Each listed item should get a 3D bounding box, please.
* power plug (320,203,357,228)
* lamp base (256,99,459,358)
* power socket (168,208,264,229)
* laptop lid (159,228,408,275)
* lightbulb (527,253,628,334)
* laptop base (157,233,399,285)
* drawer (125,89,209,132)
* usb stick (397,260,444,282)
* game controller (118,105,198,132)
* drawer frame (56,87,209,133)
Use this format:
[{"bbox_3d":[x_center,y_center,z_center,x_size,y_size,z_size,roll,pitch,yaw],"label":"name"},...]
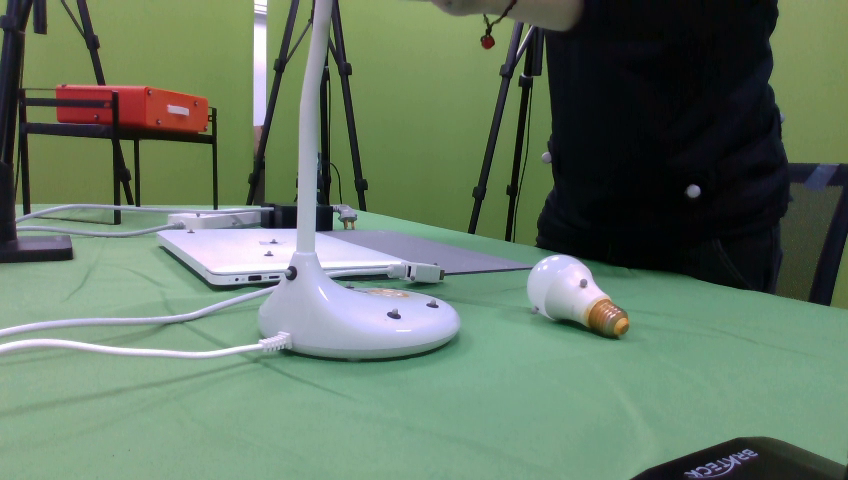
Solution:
[{"bbox_3d":[-0.170,-0.046,1.208,0.073,0.052,0.035,-6,-18,-10],"label":"power plug"},{"bbox_3d":[-0.055,-0.013,0.462,0.160,0.180,0.180,6,11,27],"label":"lamp base"},{"bbox_3d":[-0.381,-0.038,1.128,0.072,0.032,0.227,4,8,16],"label":"power socket"},{"bbox_3d":[-0.201,0.007,0.806,0.243,0.013,0.355,-1,8,-31],"label":"laptop lid"},{"bbox_3d":[0.137,0.050,0.534,0.060,0.059,0.107,-3,24,-33],"label":"lightbulb"},{"bbox_3d":[-0.204,0.019,0.806,0.237,0.023,0.352,0,7,-33],"label":"laptop base"},{"bbox_3d":[-0.595,-0.268,1.263,0.211,0.073,0.195,3,8,15],"label":"drawer"},{"bbox_3d":[-0.001,0.036,0.696,0.027,0.021,0.059,12,4,43],"label":"usb stick"},{"bbox_3d":[-0.554,-0.252,1.254,0.097,0.051,0.155,6,11,19],"label":"game controller"},{"bbox_3d":[-0.598,-0.269,1.261,0.213,0.082,0.202,4,8,14],"label":"drawer frame"}]
